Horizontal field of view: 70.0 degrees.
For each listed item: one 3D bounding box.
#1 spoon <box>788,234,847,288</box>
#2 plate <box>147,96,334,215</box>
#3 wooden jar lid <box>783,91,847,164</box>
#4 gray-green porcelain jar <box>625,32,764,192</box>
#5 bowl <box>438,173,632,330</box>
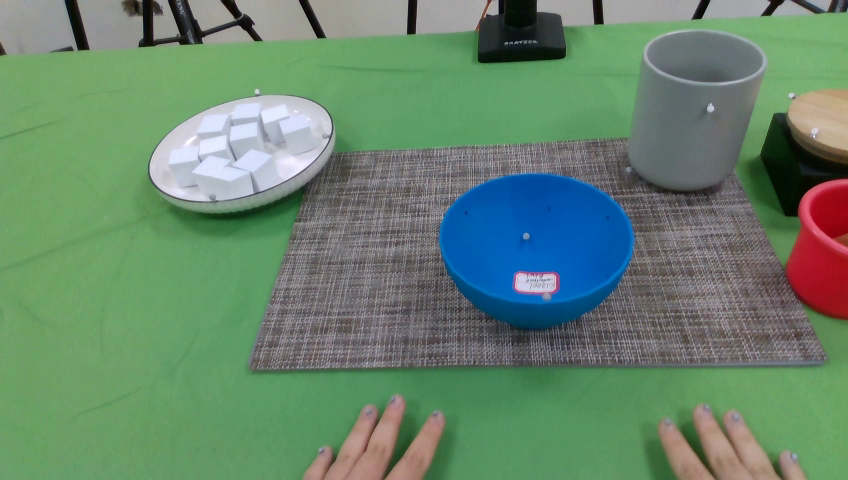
[{"bbox_3d":[0.374,-0.024,0.465,0.022,0.194,0.041,31,30,-26],"label":"spoon"},{"bbox_3d":[-0.203,-0.095,0.690,0.209,0.038,0.207,-4,43,5],"label":"plate"},{"bbox_3d":[0.393,-0.104,0.563,0.108,0.021,0.107,-4,43,5],"label":"wooden jar lid"},{"bbox_3d":[0.254,-0.119,0.587,0.106,0.128,0.105,-4,44,4],"label":"gray-green porcelain jar"},{"bbox_3d":[0.088,0.021,0.498,0.151,0.077,0.150,-4,43,4],"label":"bowl"}]
